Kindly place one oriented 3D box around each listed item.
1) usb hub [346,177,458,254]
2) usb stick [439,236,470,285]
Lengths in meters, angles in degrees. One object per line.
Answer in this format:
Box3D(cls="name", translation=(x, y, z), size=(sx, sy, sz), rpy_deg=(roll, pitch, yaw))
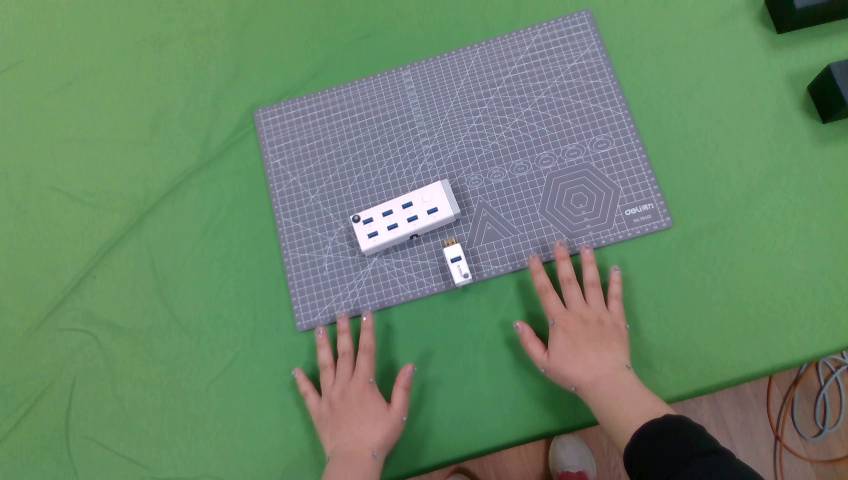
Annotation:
Box3D(cls="usb hub", translation=(-0.026, -0.029, 0.715), size=(0.125, 0.025, 0.049), rpy_deg=(-22, 74, 1))
Box3D(cls="usb stick", translation=(0.033, 0.021, 0.695), size=(0.021, 0.027, 0.059), rpy_deg=(-21, 71, 5))
